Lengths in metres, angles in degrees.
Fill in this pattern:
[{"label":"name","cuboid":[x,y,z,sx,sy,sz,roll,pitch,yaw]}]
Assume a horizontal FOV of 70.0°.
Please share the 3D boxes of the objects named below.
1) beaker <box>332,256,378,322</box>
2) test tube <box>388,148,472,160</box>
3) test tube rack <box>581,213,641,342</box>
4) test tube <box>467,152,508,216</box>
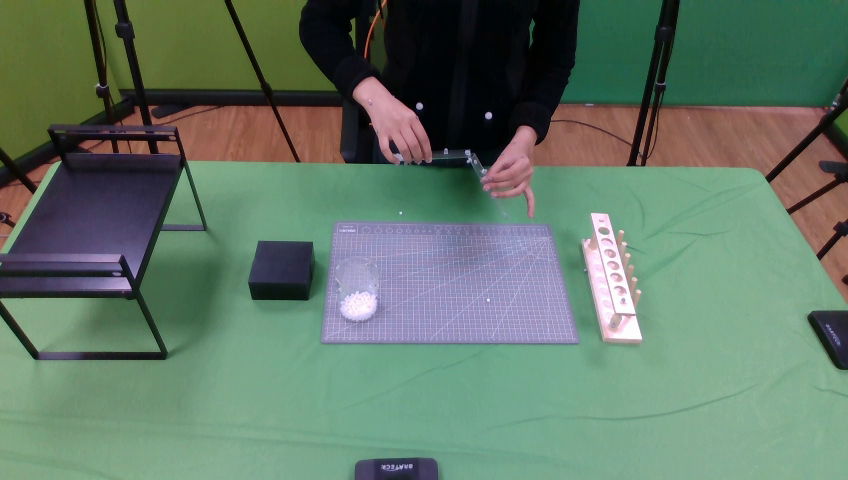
[{"label":"beaker","cuboid":[-0.114,0.089,1.047,0.083,0.101,0.074,30,52,21]},{"label":"test tube","cuboid":[0.011,-0.154,1.090,0.150,0.017,0.017,-2,46,3]},{"label":"test tube rack","cuboid":[0.351,0.064,1.120,0.067,0.085,0.241,3,46,-1]},{"label":"test tube","cuboid":[0.121,-0.102,1.127,0.017,0.151,0.017,-24,32,17]}]
